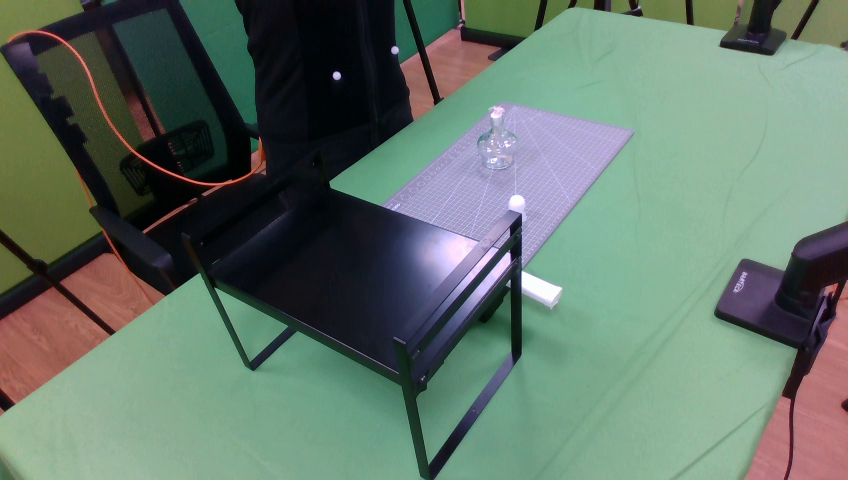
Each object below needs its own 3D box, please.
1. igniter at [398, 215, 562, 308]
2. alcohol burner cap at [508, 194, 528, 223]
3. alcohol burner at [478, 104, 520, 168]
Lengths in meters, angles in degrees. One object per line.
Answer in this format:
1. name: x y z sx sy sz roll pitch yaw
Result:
1. igniter: 0.068 0.024 0.863 0.274 0.025 0.057 26 50 29
2. alcohol burner cap: 0.155 -0.054 0.996 0.034 0.048 0.033 -4 40 4
3. alcohol burner: 0.137 -0.193 1.106 0.078 0.119 0.077 -4 39 4
